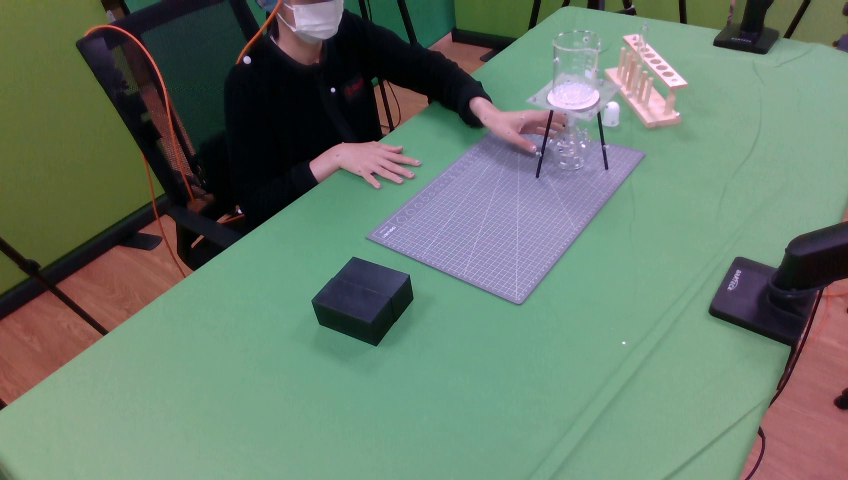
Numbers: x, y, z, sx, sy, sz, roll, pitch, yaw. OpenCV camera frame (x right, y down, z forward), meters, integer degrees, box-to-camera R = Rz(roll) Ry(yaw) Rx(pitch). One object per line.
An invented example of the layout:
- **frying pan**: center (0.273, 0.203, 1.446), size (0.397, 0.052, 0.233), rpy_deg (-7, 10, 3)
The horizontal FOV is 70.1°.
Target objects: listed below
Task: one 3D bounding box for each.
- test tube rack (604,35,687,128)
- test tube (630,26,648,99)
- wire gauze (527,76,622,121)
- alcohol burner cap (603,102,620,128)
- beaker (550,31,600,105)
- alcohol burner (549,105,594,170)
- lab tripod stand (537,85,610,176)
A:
- **test tube rack**: center (0.447, -0.330, 1.241), size (0.067, 0.085, 0.241), rpy_deg (-9, 41, -2)
- **test tube**: center (0.426, -0.350, 1.199), size (0.017, 0.151, 0.017), rpy_deg (-4, 42, 4)
- **wire gauze**: center (0.255, -0.247, 1.030), size (0.124, 0.011, 0.122), rpy_deg (23, 49, 34)
- **alcohol burner cap**: center (0.371, -0.249, 1.193), size (0.034, 0.048, 0.033), rpy_deg (-5, 41, 5)
- **beaker**: center (0.250, -0.281, 0.996), size (0.074, 0.101, 0.083), rpy_deg (-37, 49, -27)
- **alcohol burner**: center (0.262, -0.186, 1.076), size (0.078, 0.119, 0.077), rpy_deg (-6, 41, 5)
- **lab tripod stand**: center (0.259, -0.192, 1.068), size (0.148, 0.132, 0.147), rpy_deg (-4, 43, 4)
